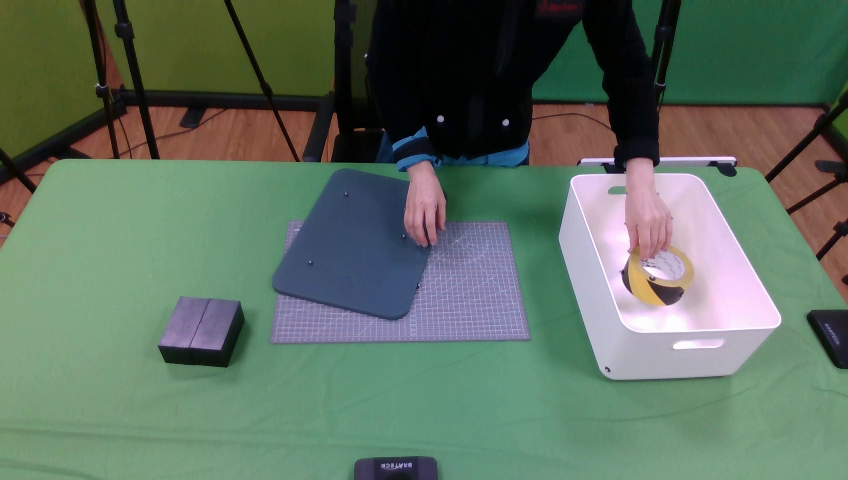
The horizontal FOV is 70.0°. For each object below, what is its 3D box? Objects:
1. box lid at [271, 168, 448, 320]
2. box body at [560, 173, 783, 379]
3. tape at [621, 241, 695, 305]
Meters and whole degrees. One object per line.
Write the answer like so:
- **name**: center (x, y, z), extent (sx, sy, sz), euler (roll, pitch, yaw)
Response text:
- **box lid**: center (-0.115, -0.007, 1.200), extent (0.263, 0.015, 0.369), euler (12, 46, 8)
- **box body**: center (0.405, 0.057, 1.074), extent (0.254, 0.161, 0.361), euler (-2, 46, -5)
- **tape**: center (0.414, 0.057, 1.075), extent (0.117, 0.053, 0.116), euler (3, 43, -3)
